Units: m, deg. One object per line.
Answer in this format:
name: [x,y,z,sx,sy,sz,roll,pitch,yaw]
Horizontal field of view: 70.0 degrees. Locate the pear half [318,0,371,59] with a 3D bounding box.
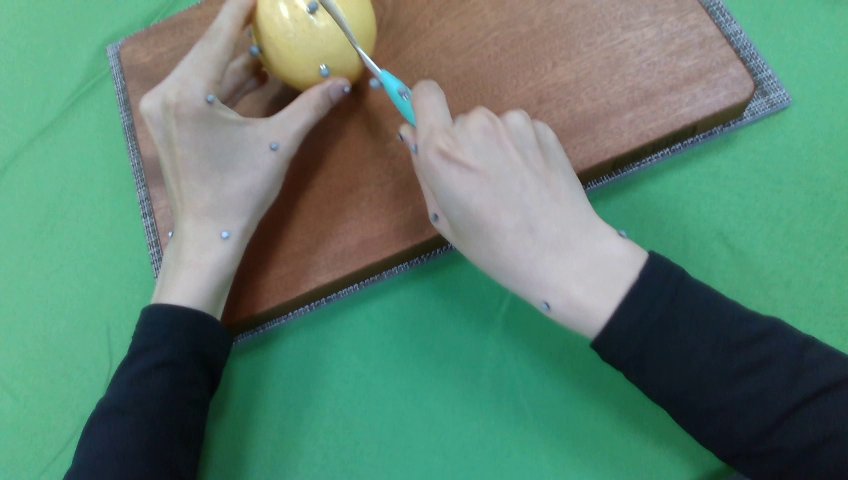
pear half: [-0.057,-0.162,0.399,0.031,0.089,0.070,-42,62,-9]

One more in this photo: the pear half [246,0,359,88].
pear half: [-0.089,-0.139,0.387,0.056,0.111,0.075,-47,65,-4]

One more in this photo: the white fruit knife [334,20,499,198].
white fruit knife: [-0.023,-0.101,0.381,0.016,0.027,0.205,-40,66,-2]
